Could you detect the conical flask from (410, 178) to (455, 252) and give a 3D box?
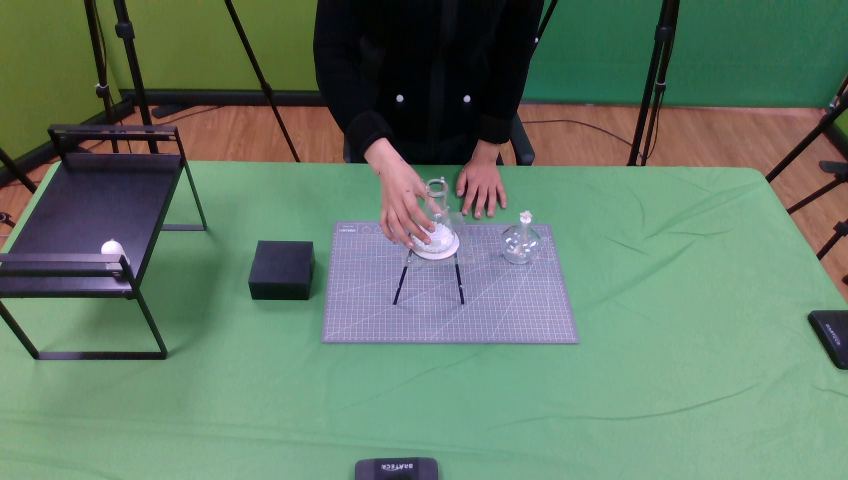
[{"bbox_3d":[0.016,-0.043,0.986,0.075,0.122,0.075,2,47,-2],"label":"conical flask"}]

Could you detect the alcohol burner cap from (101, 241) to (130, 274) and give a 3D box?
[{"bbox_3d":[-0.449,0.022,0.878,0.034,0.048,0.033,2,45,-2],"label":"alcohol burner cap"}]

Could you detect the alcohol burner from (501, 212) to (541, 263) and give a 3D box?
[{"bbox_3d":[0.187,-0.011,1.156,0.078,0.120,0.077,1,49,-1],"label":"alcohol burner"}]

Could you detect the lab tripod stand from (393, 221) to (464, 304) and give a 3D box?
[{"bbox_3d":[0.009,0.045,1.075,0.148,0.132,0.147,2,48,-2],"label":"lab tripod stand"}]

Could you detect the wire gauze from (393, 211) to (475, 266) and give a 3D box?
[{"bbox_3d":[0.015,-0.002,1.029,0.125,0.011,0.120,-6,45,-6],"label":"wire gauze"}]
